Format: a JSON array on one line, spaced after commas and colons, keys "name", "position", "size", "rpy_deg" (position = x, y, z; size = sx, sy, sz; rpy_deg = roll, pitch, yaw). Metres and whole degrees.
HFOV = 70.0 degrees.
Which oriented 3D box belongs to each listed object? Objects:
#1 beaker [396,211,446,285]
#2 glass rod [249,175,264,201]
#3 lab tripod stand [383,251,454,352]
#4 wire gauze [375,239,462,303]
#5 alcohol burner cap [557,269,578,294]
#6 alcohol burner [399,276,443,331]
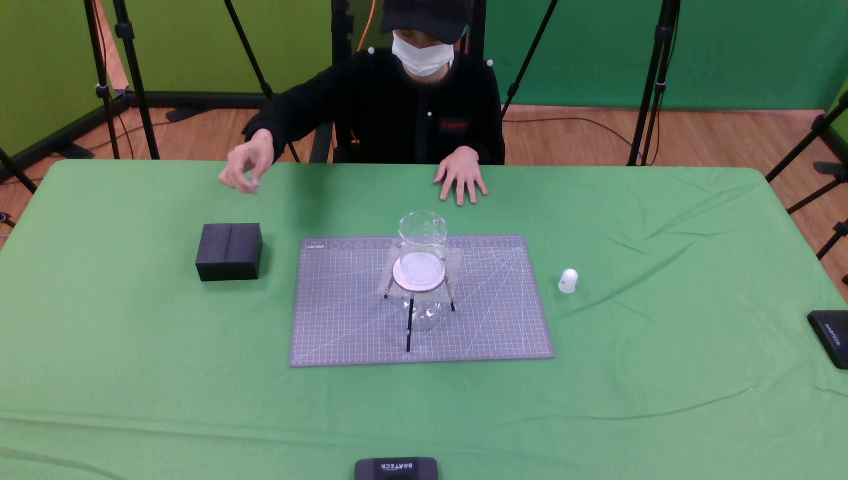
[{"name": "beaker", "position": [-0.002, 0.017, 0.941], "size": [0.083, 0.101, 0.074], "rpy_deg": [36, 55, 28]}, {"name": "glass rod", "position": [-0.281, -0.085, 1.022], "size": [0.008, 0.199, 0.008], "rpy_deg": [1, 83, -10]}, {"name": "lab tripod stand", "position": [-0.015, 0.094, 1.025], "size": [0.148, 0.132, 0.147], "rpy_deg": [1, 46, -1]}, {"name": "wire gauze", "position": [-0.006, 0.049, 0.978], "size": [0.121, 0.011, 0.124], "rpy_deg": [10, 44, 5]}, {"name": "alcohol burner cap", "position": [0.270, 0.074, 1.135], "size": [0.034, 0.048, 0.033], "rpy_deg": [3, 46, -2]}, {"name": "alcohol burner", "position": [-0.004, 0.101, 1.033], "size": [0.078, 0.119, 0.077], "rpy_deg": [3, 48, -3]}]
